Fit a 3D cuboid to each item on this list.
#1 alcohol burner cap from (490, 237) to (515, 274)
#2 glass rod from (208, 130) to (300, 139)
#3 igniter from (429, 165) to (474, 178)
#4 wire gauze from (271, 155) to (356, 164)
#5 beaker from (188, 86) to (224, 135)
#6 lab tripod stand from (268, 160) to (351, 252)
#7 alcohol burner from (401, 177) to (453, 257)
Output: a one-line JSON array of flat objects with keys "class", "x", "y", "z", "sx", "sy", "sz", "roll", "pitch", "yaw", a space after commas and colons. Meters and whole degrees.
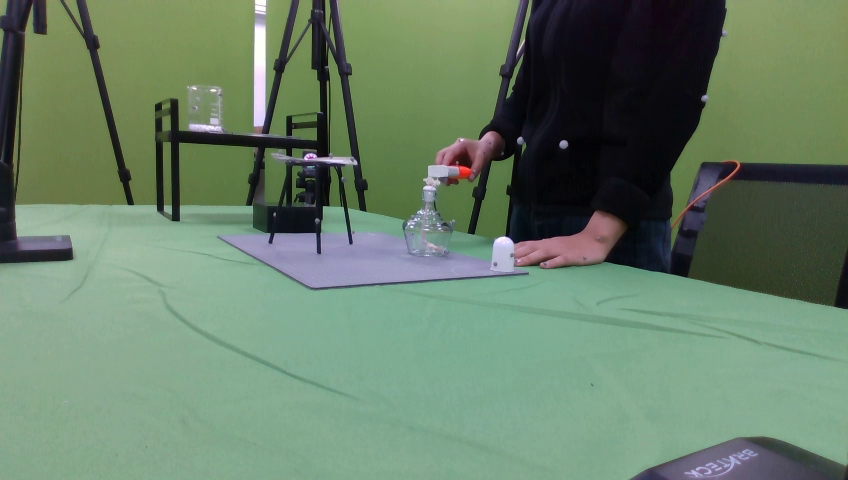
[{"class": "alcohol burner cap", "x": 0.104, "y": 0.020, "z": 0.793, "sx": 0.034, "sy": 0.048, "sz": 0.034, "roll": 2, "pitch": 6, "yaw": 0}, {"class": "glass rod", "x": -0.367, "y": -0.231, "z": 1.321, "sx": 0.201, "sy": 0.008, "sz": 0.008, "roll": -1, "pitch": 8, "yaw": -30}, {"class": "igniter", "x": 0.051, "y": -0.119, "z": 1.047, "sx": 0.057, "sy": 0.025, "sz": 0.277, "roll": 2, "pitch": 6, "yaw": 12}, {"class": "wire gauze", "x": -0.167, "y": -0.122, "z": 0.917, "sx": 0.125, "sy": 0.011, "sz": 0.121, "roll": 0, "pitch": 7, "yaw": -9}, {"class": "beaker", "x": -0.474, "y": -0.280, "z": 1.311, "sx": 0.074, "sy": 0.100, "sz": 0.084, "roll": 5, "pitch": 8, "yaw": 26}, {"class": "lab tripod stand", "x": -0.172, "y": -0.055, "z": 0.922, "sx": 0.148, "sy": 0.131, "sz": 0.148, "roll": 1, "pitch": 9, "yaw": 0}, {"class": "alcohol burner", "x": 0.006, "y": -0.035, "z": 0.903, "sx": 0.078, "sy": 0.119, "sz": 0.078, "roll": 4, "pitch": 6, "yaw": 0}]
